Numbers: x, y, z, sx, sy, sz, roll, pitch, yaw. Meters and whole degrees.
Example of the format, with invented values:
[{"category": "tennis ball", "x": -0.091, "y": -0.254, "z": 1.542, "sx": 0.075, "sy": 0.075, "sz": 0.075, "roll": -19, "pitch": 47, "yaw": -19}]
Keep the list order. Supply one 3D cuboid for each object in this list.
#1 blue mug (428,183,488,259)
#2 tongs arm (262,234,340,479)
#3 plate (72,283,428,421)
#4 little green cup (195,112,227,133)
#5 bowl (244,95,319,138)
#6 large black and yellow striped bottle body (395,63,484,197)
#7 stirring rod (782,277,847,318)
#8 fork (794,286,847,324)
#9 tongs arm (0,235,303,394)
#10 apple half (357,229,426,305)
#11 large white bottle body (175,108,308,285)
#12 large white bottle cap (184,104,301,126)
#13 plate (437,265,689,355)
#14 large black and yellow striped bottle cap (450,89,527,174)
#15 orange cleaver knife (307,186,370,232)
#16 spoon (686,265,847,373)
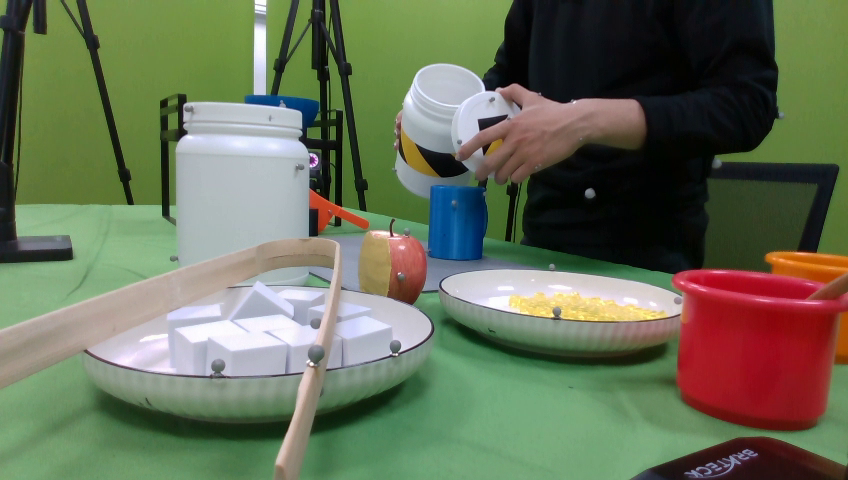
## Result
[{"category": "blue mug", "x": 0.059, "y": -0.031, "z": 0.907, "sx": 0.082, "sy": 0.106, "sz": 0.117, "roll": 9, "pitch": 10, "yaw": 42}, {"category": "tongs arm", "x": -0.074, "y": 0.039, "z": 0.349, "sx": 0.051, "sy": 0.026, "sz": 0.384, "roll": -2, "pitch": 10, "yaw": -3}, {"category": "plate", "x": -0.102, "y": 0.066, "z": 0.381, "sx": 0.208, "sy": 0.039, "sz": 0.207, "roll": 2, "pitch": 7, "yaw": 0}, {"category": "little green cup", "x": -0.412, "y": -0.227, "z": 1.171, "sx": 0.061, "sy": 0.038, "sz": 0.061, "roll": 3, "pitch": 8, "yaw": 0}, {"category": "bowl", "x": -0.293, "y": -0.251, "z": 1.249, "sx": 0.151, "sy": 0.077, "sz": 0.151, "roll": 2, "pitch": 7, "yaw": 0}, {"category": "large black and yellow striped bottle body", "x": 0.025, "y": -0.174, "z": 0.964, "sx": 0.131, "sy": 0.184, "sz": 0.130, "roll": 5, "pitch": 48, "yaw": -5}, {"category": "stirring rod", "x": 0.344, "y": 0.019, "z": 0.461, "sx": 0.014, "sy": 0.006, "sz": 0.176, "roll": -13, "pitch": -27, "yaw": -30}, {"category": "fork", "x": 0.332, "y": 0.018, "z": 0.442, "sx": 0.028, "sy": 0.018, "sz": 0.207, "roll": -1, "pitch": -36, "yaw": -15}, {"category": "tongs arm", "x": -0.157, "y": 0.038, "z": 0.351, "sx": 0.028, "sy": 0.028, "sz": 0.388, "roll": -3, "pitch": 8, "yaw": 12}, {"category": "apple half", "x": -0.026, "y": 0.028, "z": 0.570, "sx": 0.053, "sy": 0.074, "sz": 0.080, "roll": 3, "pitch": 2, "yaw": -28}, {"category": "large white bottle body", "x": -0.187, "y": -0.042, "z": 0.630, "sx": 0.131, "sy": 0.184, "sz": 0.130, "roll": 2, "pitch": 8, "yaw": 0}, {"category": "large white bottle cap", "x": -0.184, "y": -0.126, "z": 0.618, "sx": 0.115, "sy": 0.018, "sz": 0.115, "roll": 2, "pitch": 8, "yaw": 0}, {"category": "plate", "x": 0.114, "y": 0.057, "z": 0.517, "sx": 0.209, "sy": 0.038, "sz": 0.209, "roll": 3, "pitch": 8, "yaw": 0}, {"category": "large black and yellow striped bottle cap", "x": 0.089, "y": -0.147, "z": 0.817, "sx": 0.115, "sy": 0.115, "sz": 0.018, "roll": -2, "pitch": -2, "yaw": -27}, {"category": "orange cleaver knife", "x": -0.197, "y": -0.056, "z": 1.141, "sx": 0.212, "sy": 0.077, "sz": 0.012, "roll": 29, "pitch": 0, "yaw": -35}, {"category": "spoon", "x": 0.214, "y": 0.032, "z": 0.328, "sx": 0.042, "sy": 0.021, "sz": 0.193, "roll": -2, "pitch": -35, "yaw": -25}]
